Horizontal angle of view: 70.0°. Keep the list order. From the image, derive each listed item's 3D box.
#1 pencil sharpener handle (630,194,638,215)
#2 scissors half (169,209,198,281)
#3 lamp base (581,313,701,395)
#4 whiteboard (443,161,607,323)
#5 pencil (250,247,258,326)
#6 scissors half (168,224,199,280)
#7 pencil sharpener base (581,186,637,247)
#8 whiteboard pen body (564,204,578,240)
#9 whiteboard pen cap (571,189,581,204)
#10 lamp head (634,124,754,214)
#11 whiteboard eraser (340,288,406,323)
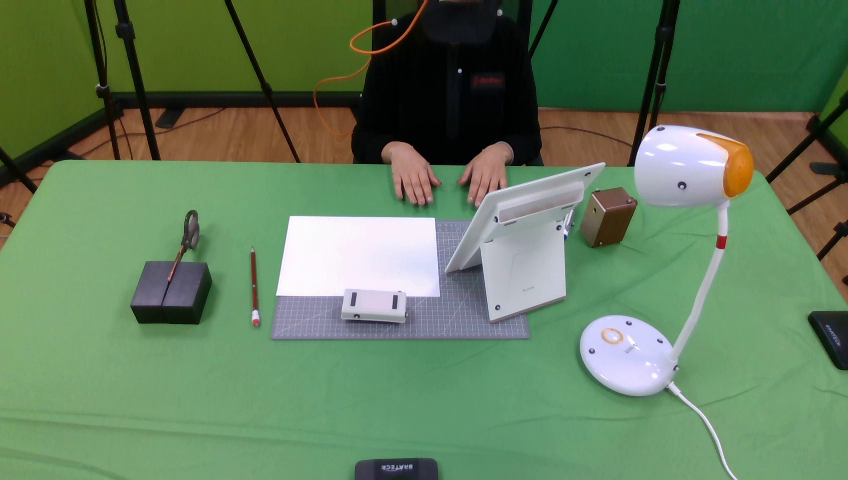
[{"bbox_3d":[0.417,-0.068,1.215,0.031,0.068,0.036,-11,60,-15],"label":"pencil sharpener handle"},{"bbox_3d":[-0.438,0.007,1.099,0.013,0.040,0.174,5,48,-5],"label":"scissors half"},{"bbox_3d":[0.361,0.144,0.972,0.178,0.181,0.160,34,53,23],"label":"lamp base"},{"bbox_3d":[0.185,0.025,1.029,0.217,0.306,0.143,-15,68,-18],"label":"whiteboard"},{"bbox_3d":[-0.312,0.079,1.107,0.012,0.012,0.192,-7,46,-11],"label":"pencil"},{"bbox_3d":[-0.441,0.023,1.111,0.013,0.040,0.174,9,29,-8],"label":"scissors half"},{"bbox_3d":[0.369,-0.047,1.209,0.077,0.107,0.061,-11,47,-15],"label":"pencil sharpener base"},{"bbox_3d":[0.307,-0.052,1.270,0.017,0.017,0.140,17,49,12],"label":"whiteboard pen body"},{"bbox_3d":[0.328,-0.093,1.307,0.018,0.018,0.033,18,50,13],"label":"whiteboard pen cap"},{"bbox_3d":[0.351,-0.089,0.775,0.112,0.113,0.122,-30,30,-28],"label":"lamp head"},{"bbox_3d":[-0.088,0.117,1.060,0.113,0.042,0.055,3,45,-1],"label":"whiteboard eraser"}]
